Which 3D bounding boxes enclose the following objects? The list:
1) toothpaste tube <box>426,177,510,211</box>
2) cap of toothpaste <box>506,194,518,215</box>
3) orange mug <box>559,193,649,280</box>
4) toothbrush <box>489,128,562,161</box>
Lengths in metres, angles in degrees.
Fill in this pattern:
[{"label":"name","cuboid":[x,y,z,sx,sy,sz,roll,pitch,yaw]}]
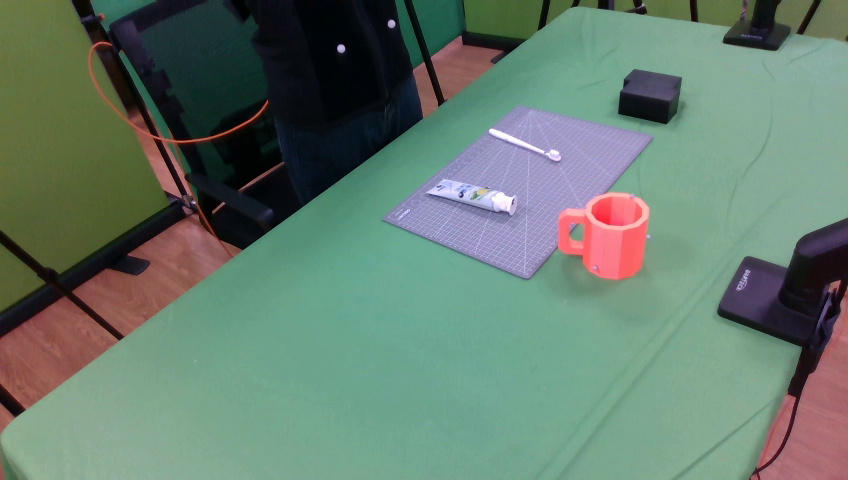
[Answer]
[{"label":"toothpaste tube","cuboid":[0.083,-0.081,1.054,0.164,0.034,0.055,18,40,34]},{"label":"cap of toothpaste","cuboid":[0.146,-0.060,1.007,0.011,0.037,0.037,14,46,22]},{"label":"orange mug","cuboid":[0.261,-0.008,0.884,0.126,0.101,0.083,9,43,14]},{"label":"toothbrush","cuboid":[0.191,-0.189,1.167,0.014,0.017,0.180,-44,48,-17]}]
